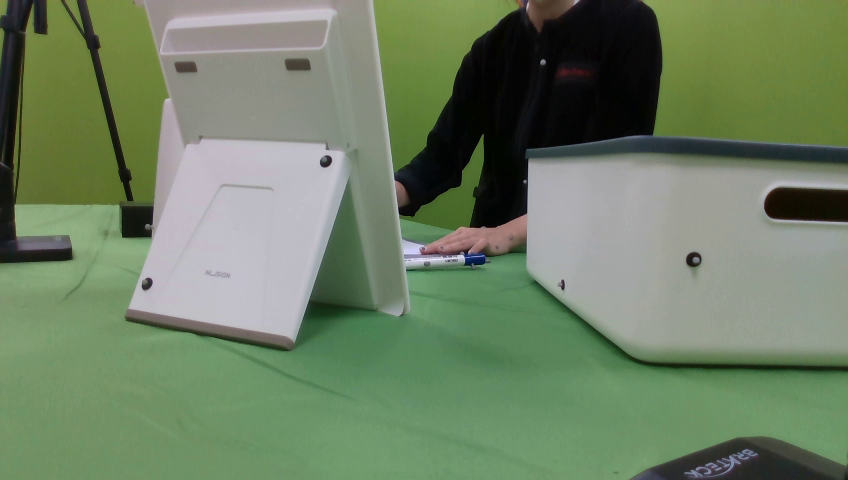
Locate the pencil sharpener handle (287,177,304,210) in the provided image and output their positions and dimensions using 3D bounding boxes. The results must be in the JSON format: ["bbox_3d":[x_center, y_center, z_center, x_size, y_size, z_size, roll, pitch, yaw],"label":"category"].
[{"bbox_3d":[-0.269,-0.096,1.257,0.036,0.067,0.030,-8,8,-27],"label":"pencil sharpener handle"}]

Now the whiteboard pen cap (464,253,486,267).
[{"bbox_3d":[0.066,0.027,0.818,0.033,0.018,0.018,-5,10,-24],"label":"whiteboard pen cap"}]

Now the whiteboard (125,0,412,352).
[{"bbox_3d":[-0.151,-0.049,0.472,0.216,0.305,0.144,6,27,24],"label":"whiteboard"}]

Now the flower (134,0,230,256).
[{"bbox_3d":[-0.282,-0.147,0.713,0.038,0.362,0.044,-23,24,-31],"label":"flower"}]

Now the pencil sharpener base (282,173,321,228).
[{"bbox_3d":[-0.247,-0.080,1.212,0.061,0.107,0.076,-2,5,-28],"label":"pencil sharpener base"}]

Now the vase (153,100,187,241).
[{"bbox_3d":[-0.278,-0.066,0.736,0.098,0.200,0.098,2,9,0],"label":"vase"}]

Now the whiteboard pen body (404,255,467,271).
[{"bbox_3d":[0.013,0.030,0.792,0.141,0.017,0.017,-3,9,-24],"label":"whiteboard pen body"}]

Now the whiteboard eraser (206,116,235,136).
[{"bbox_3d":[-0.450,-0.252,1.335,0.056,0.042,0.112,1,7,-22],"label":"whiteboard eraser"}]

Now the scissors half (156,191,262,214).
[{"bbox_3d":[-0.371,-0.069,1.051,0.176,0.040,0.013,2,25,-24],"label":"scissors half"}]

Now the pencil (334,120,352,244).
[{"bbox_3d":[-0.125,-0.090,0.940,0.012,0.194,0.012,-6,3,1],"label":"pencil"}]

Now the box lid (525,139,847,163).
[{"bbox_3d":[0.261,-0.078,0.580,0.264,0.015,0.371,2,7,-4],"label":"box lid"}]

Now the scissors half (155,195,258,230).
[{"bbox_3d":[-0.378,-0.051,1.059,0.176,0.040,0.012,20,22,-31],"label":"scissors half"}]

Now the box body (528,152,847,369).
[{"bbox_3d":[0.258,-0.005,0.591,0.254,0.160,0.363,2,7,-4],"label":"box body"}]
